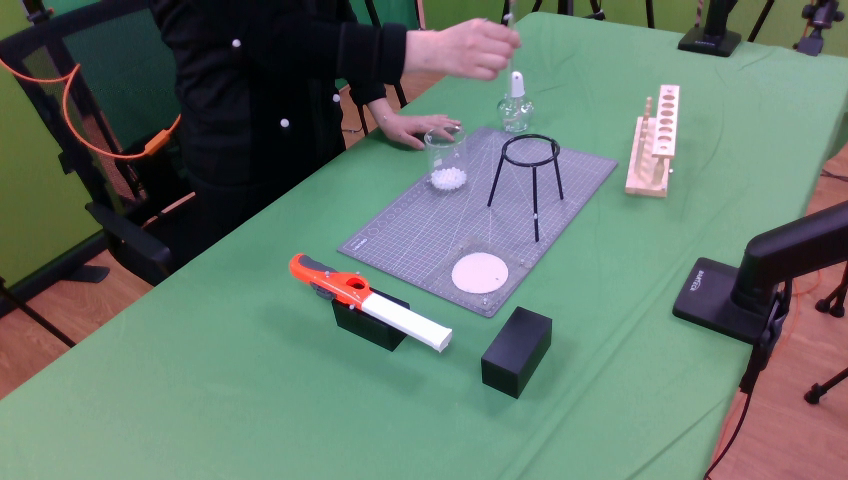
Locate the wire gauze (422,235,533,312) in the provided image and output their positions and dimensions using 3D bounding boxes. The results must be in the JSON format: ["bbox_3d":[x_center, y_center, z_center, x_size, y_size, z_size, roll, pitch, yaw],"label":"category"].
[{"bbox_3d":[0.082,0.049,0.914,0.120,0.011,0.125,26,52,32],"label":"wire gauze"}]

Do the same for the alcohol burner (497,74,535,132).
[{"bbox_3d":[0.184,-0.278,1.210,0.078,0.119,0.077,-3,42,3],"label":"alcohol burner"}]

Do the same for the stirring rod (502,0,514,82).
[{"bbox_3d":[0.115,-0.278,0.830,0.014,0.177,0.006,-24,64,-5],"label":"stirring rod"}]

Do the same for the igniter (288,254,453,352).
[{"bbox_3d":[-0.083,0.079,0.818,0.274,0.025,0.057,23,46,27],"label":"igniter"}]

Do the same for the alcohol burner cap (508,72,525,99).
[{"bbox_3d":[0.181,-0.306,1.186,0.034,0.048,0.033,-7,39,6],"label":"alcohol burner cap"}]

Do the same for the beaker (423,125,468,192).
[{"bbox_3d":[0.042,-0.144,1.078,0.073,0.100,0.084,28,51,34],"label":"beaker"}]

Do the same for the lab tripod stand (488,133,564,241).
[{"bbox_3d":[0.168,-0.092,0.972,0.148,0.132,0.147,-5,41,5],"label":"lab tripod stand"}]

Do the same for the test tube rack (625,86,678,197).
[{"bbox_3d":[0.412,-0.184,1.088,0.066,0.085,0.242,9,43,18],"label":"test tube rack"}]
